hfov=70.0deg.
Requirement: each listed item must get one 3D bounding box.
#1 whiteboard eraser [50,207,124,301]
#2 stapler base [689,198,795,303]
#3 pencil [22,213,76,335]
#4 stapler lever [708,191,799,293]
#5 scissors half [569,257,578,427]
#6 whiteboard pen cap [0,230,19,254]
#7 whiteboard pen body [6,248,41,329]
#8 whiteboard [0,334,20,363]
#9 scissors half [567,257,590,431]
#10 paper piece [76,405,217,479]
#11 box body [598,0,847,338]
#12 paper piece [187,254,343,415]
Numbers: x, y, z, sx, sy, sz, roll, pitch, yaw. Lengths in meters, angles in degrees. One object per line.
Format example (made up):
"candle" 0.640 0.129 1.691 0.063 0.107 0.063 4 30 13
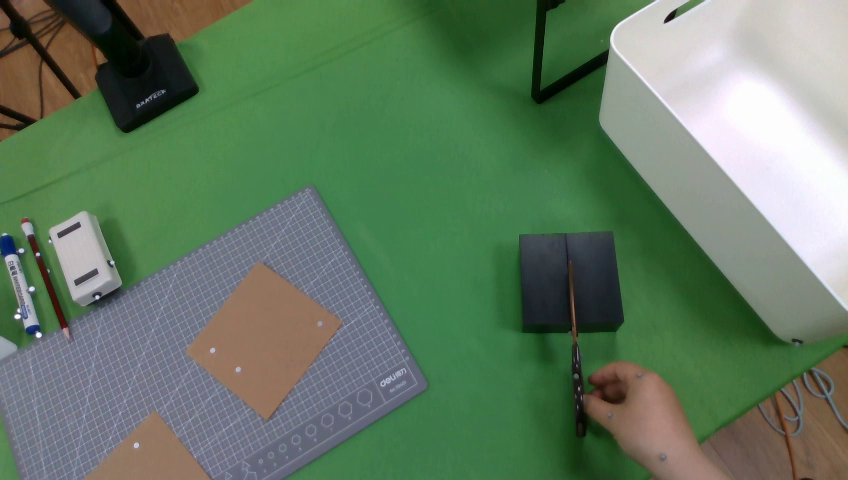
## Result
"whiteboard eraser" -0.416 0.017 0.750 0.055 0.042 0.112 -32 70 -4
"stapler base" 0.349 0.006 0.663 0.041 0.024 0.129 -34 73 -3
"pencil" -0.473 0.041 0.764 0.012 0.012 0.192 -33 70 -5
"stapler lever" 0.347 -0.001 0.638 0.027 0.040 0.117 -34 74 -3
"scissors half" 0.155 0.105 0.629 0.013 0.040 0.175 -2 89 1
"whiteboard pen cap" -0.535 0.004 0.781 0.018 0.018 0.033 -32 68 -5
"whiteboard pen body" -0.508 0.051 0.762 0.017 0.017 0.139 -30 69 -4
"whiteboard" -0.654 0.055 0.657 0.217 0.309 0.142 -31 50 -4
"scissors half" 0.153 0.101 0.610 0.013 0.040 0.174 -4 72 6
"paper piece" -0.306 0.275 0.659 0.135 0.004 0.135 42 80 18
"box body" 0.384 -0.108 0.631 0.254 0.161 0.361 -31 70 -4
"paper piece" -0.187 0.106 0.705 0.137 0.009 0.136 34 82 15
